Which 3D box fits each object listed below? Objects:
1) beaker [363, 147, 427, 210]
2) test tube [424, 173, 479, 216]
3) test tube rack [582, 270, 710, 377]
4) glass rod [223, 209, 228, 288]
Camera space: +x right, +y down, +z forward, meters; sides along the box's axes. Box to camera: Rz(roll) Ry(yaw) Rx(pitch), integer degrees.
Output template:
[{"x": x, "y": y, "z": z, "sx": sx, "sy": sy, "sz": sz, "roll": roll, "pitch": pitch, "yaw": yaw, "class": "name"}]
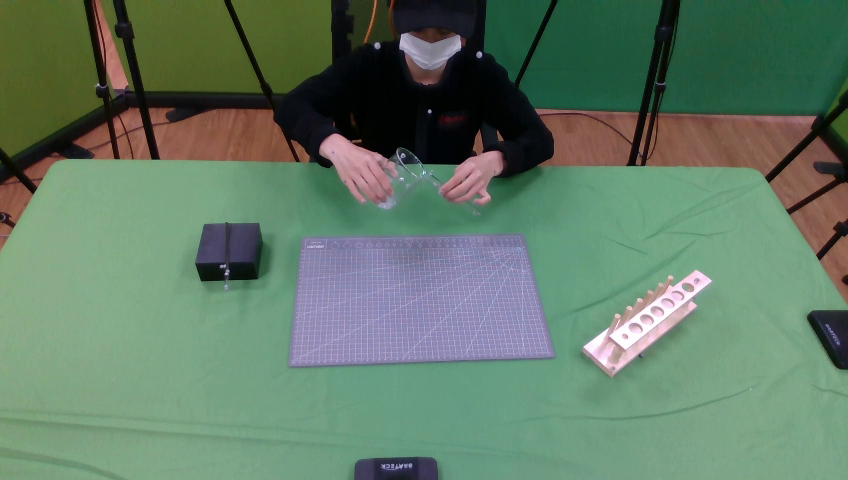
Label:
[{"x": -0.055, "y": -0.108, "z": 1.106, "sx": 0.084, "sy": 0.100, "sz": 0.073, "roll": 32, "pitch": 30, "yaw": -34, "class": "beaker"}, {"x": 0.054, "y": -0.085, "z": 1.154, "sx": 0.151, "sy": 0.017, "sz": 0.017, "roll": 33, "pitch": 32, "yaw": -37, "class": "test tube"}, {"x": 0.389, "y": 0.132, "z": 1.057, "sx": 0.242, "sy": 0.085, "sz": 0.066, "roll": -28, "pitch": 54, "yaw": -28, "class": "test tube rack"}, {"x": -0.360, "y": 0.010, "z": 1.098, "sx": 0.008, "sy": 0.008, "sz": 0.198, "roll": -7, "pitch": 47, "yaw": -12, "class": "glass rod"}]
